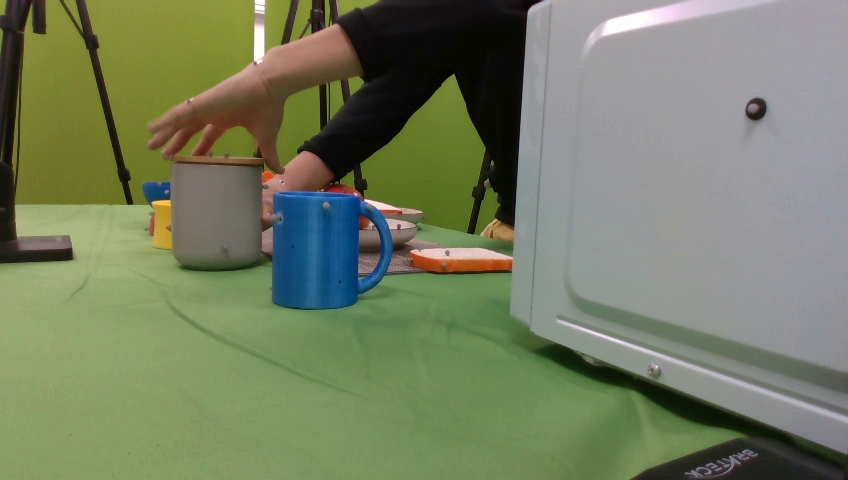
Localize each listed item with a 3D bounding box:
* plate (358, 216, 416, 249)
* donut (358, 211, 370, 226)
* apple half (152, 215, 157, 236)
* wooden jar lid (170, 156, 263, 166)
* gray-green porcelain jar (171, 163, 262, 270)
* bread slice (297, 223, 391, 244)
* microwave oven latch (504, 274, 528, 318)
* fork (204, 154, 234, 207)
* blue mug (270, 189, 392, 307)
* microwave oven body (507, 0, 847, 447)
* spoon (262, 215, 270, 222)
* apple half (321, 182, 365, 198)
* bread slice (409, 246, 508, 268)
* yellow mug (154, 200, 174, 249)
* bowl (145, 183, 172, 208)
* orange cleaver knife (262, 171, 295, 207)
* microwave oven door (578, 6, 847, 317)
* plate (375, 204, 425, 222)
[{"bbox_3d":[-0.116,-0.014,0.967,0.208,0.039,0.207,2,7,0],"label":"plate"},{"bbox_3d":[-0.132,-0.042,0.959,0.099,0.048,0.099,1,7,0],"label":"donut"},{"bbox_3d":[-0.415,-0.034,1.017,0.081,0.053,0.074,1,10,-9],"label":"apple half"},{"bbox_3d":[-0.253,-0.092,0.742,0.108,0.020,0.108,1,9,0],"label":"wooden jar lid"},{"bbox_3d":[-0.255,-0.031,0.750,0.106,0.126,0.106,2,7,0],"label":"gray-green porcelain jar"},{"bbox_3d":[-0.121,-0.012,0.970,0.106,0.018,0.135,9,11,41],"label":"bread slice"},{"bbox_3d":[0.100,0.041,0.470,0.079,0.029,0.030,-1,7,-26],"label":"microwave oven latch"},{"bbox_3d":[-0.480,-0.135,1.411,0.028,0.018,0.207,0,-34,-1],"label":"fork"},{"bbox_3d":[-0.089,0.005,0.588,0.117,0.106,0.082,0,7,-11],"label":"blue mug"},{"bbox_3d":[0.331,-0.042,0.425,0.444,0.260,0.324,-2,8,-31],"label":"microwave oven body"},{"bbox_3d":[-0.200,-0.032,0.962,0.041,0.021,0.195,3,-1,32],"label":"spoon"},{"bbox_3d":[-0.130,-0.076,0.952,0.081,0.033,0.081,2,13,0],"label":"apple half"},{"bbox_3d":[0.048,0.021,0.816,0.132,0.019,0.104,0,7,-24],"label":"bread slice"},{"bbox_3d":[-0.337,-0.023,0.899,0.130,0.064,0.100,8,9,35],"label":"yellow mug"},{"bbox_3d":[-0.459,-0.068,1.175,0.151,0.077,0.151,3,7,0],"label":"bowl"},{"bbox_3d":[-0.283,-0.086,1.343,0.212,0.077,0.012,24,-16,-41],"label":"orange cleaver knife"},{"bbox_3d":[0.294,-0.067,0.570,0.358,0.243,0.039,-3,9,-31],"label":"microwave oven door"},{"bbox_3d":[-0.102,-0.053,1.299,0.209,0.038,0.209,2,8,0],"label":"plate"}]
